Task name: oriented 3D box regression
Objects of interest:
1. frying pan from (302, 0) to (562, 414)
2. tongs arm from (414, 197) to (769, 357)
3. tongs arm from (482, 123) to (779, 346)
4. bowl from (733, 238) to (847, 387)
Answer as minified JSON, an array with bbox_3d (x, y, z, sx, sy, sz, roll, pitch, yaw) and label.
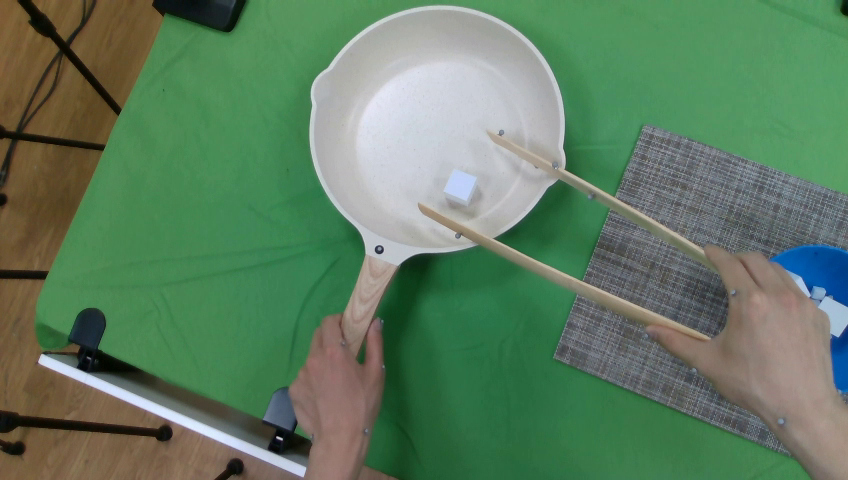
[{"bbox_3d":[-0.030,-0.039,0.690,0.306,0.103,0.486,21,76,9],"label":"frying pan"},{"bbox_3d":[0.127,0.022,0.589,0.384,0.028,0.028,27,69,39],"label":"tongs arm"},{"bbox_3d":[0.172,-0.027,0.597,0.051,0.027,0.380,-45,49,-7],"label":"tongs arm"},{"bbox_3d":[0.396,0.077,0.644,0.151,0.077,0.151,-1,82,5],"label":"bowl"}]
